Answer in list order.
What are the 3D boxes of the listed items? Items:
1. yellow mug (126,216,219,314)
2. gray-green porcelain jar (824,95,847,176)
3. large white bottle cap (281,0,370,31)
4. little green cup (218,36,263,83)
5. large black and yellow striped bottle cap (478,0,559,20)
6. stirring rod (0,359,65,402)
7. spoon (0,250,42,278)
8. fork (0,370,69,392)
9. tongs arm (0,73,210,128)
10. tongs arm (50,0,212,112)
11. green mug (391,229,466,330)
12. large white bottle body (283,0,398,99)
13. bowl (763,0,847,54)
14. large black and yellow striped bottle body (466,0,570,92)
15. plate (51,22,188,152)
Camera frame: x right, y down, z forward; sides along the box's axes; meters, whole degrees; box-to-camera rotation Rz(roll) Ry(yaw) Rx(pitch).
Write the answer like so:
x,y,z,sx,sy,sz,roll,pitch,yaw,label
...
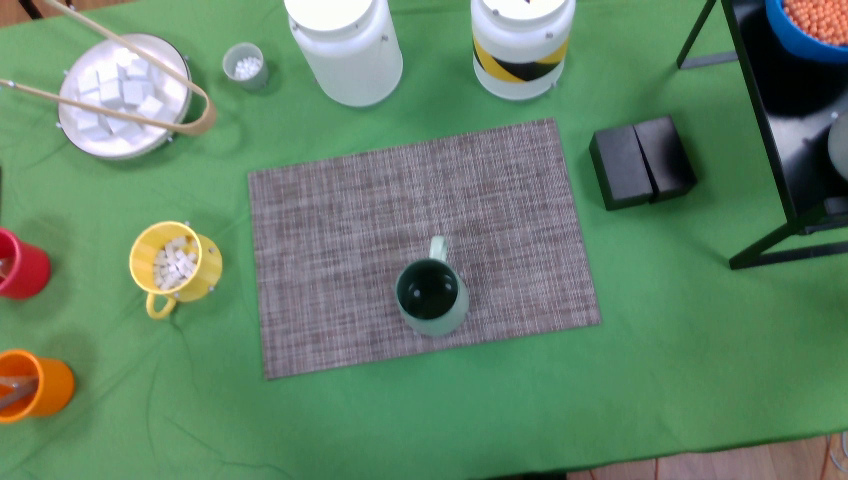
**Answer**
x,y,z,sx,sy,sz,roll,pitch,yaw,label
-0.346,0.037,0.824,0.100,0.064,0.130,15,79,8,yellow mug
0.456,-0.114,0.571,0.106,0.127,0.105,-1,75,5,gray-green porcelain jar
-0.120,-0.310,0.739,0.115,0.018,0.114,-1,77,5,large white bottle cap
-0.272,-0.268,0.906,0.061,0.039,0.061,-1,77,4,little green cup
0.113,-0.317,0.721,0.115,0.019,0.114,-1,77,4,large black and yellow striped bottle cap
-0.542,0.202,0.765,0.014,0.006,0.176,41,41,12,stirring rod
-0.628,0.024,0.814,0.195,0.021,0.041,10,71,-37,spoon
-0.569,0.169,0.769,0.209,0.018,0.028,19,70,-35,fork
-0.492,-0.221,0.882,0.383,0.027,0.050,18,75,11,tongs arm
-0.457,-0.295,0.899,0.385,0.028,0.028,32,75,14,tongs arm
0.007,0.048,0.765,0.092,0.105,0.125,6,77,7,green mug
-0.112,-0.290,0.821,0.130,0.185,0.130,-1,76,6,large white bottle body
0.420,-0.252,0.632,0.151,0.077,0.150,-1,77,5,bowl
0.122,-0.294,0.801,0.130,0.185,0.130,-1,76,6,large black and yellow striped bottle body
-0.453,-0.227,0.913,0.207,0.039,0.206,-1,76,5,plate
